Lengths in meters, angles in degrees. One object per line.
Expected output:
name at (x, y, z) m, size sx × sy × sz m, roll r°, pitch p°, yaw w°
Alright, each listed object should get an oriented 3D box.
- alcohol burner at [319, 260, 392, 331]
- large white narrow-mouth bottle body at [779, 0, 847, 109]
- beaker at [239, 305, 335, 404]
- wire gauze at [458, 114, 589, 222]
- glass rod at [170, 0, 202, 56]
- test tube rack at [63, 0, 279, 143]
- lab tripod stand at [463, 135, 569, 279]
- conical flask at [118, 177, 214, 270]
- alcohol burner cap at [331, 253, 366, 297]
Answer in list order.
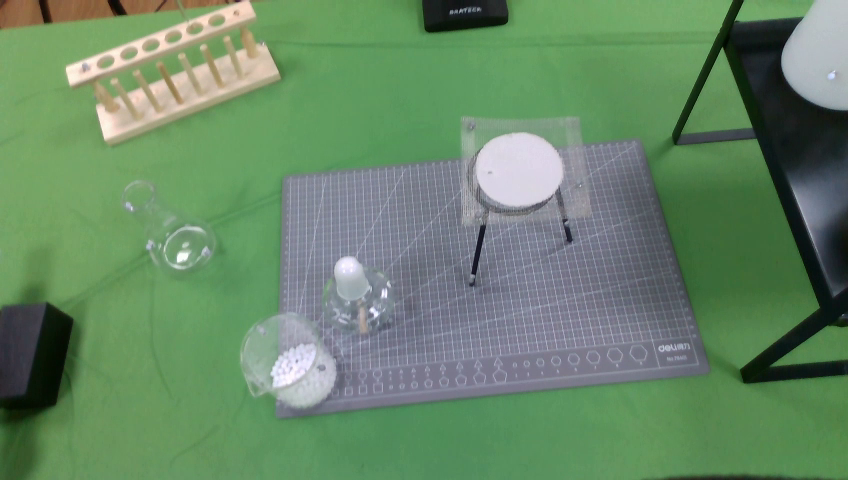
alcohol burner at (-0.073, 0.050, 0.625) m, size 0.078 × 0.120 × 0.077 m, roll -1°, pitch 62°, yaw 2°
large white narrow-mouth bottle body at (0.373, -0.202, 0.480) m, size 0.102 × 0.196 × 0.101 m, roll -1°, pitch 61°, yaw 3°
beaker at (-0.132, 0.121, 0.600) m, size 0.073 × 0.101 × 0.083 m, roll 23°, pitch 67°, yaw 15°
wire gauze at (0.094, -0.074, 0.589) m, size 0.121 × 0.011 × 0.124 m, roll 0°, pitch 63°, yaw 2°
glass rod at (-0.308, -0.288, 0.755) m, size 0.008 × 0.201 × 0.008 m, roll -5°, pitch 56°, yaw 7°
test tube rack at (-0.326, -0.221, 0.797) m, size 0.242 × 0.086 × 0.066 m, roll -24°, pitch 64°, yaw -9°
lab tripod stand at (0.091, -0.039, 0.648) m, size 0.148 × 0.132 × 0.147 m, roll -1°, pitch 61°, yaw 2°
conical flask at (-0.291, -0.022, 0.673) m, size 0.075 × 0.123 × 0.074 m, roll -2°, pitch 62°, yaw 3°
alcohol burner cap at (-0.076, 0.031, 0.593) m, size 0.034 × 0.048 × 0.033 m, roll 0°, pitch 56°, yaw 1°
